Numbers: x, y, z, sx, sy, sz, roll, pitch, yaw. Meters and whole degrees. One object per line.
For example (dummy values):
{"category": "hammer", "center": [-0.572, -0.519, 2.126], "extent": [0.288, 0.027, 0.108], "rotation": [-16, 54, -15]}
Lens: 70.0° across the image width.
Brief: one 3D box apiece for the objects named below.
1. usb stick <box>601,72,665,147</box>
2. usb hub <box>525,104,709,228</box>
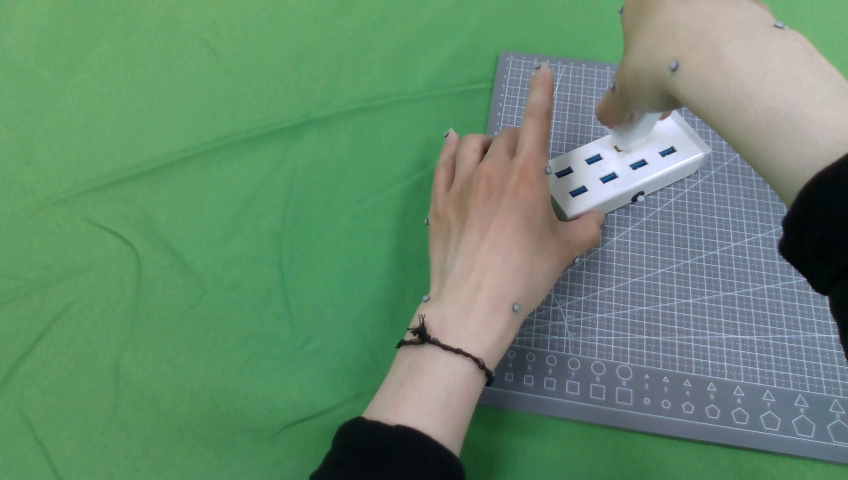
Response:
{"category": "usb stick", "center": [0.140, -0.085, 0.415], "extent": [0.021, 0.059, 0.027], "rotation": [-25, 67, -12]}
{"category": "usb hub", "center": [0.139, -0.056, 0.439], "extent": [0.125, 0.025, 0.049], "rotation": [-24, 64, -13]}
